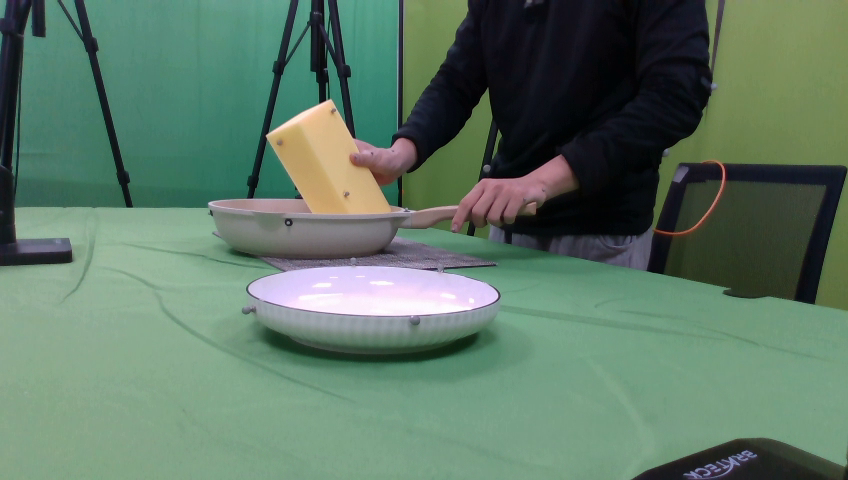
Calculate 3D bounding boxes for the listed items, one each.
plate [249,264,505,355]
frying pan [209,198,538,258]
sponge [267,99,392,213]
[{"bbox_3d":[-0.037,0.056,0.504,0.208,0.039,0.207,2,7,0],"label":"plate"},{"bbox_3d":[-0.075,-0.034,0.912,0.487,0.102,0.307,-5,7,12],"label":"frying pan"},{"bbox_3d":[-0.138,-0.098,0.928,0.060,0.207,0.118,-18,23,25],"label":"sponge"}]
